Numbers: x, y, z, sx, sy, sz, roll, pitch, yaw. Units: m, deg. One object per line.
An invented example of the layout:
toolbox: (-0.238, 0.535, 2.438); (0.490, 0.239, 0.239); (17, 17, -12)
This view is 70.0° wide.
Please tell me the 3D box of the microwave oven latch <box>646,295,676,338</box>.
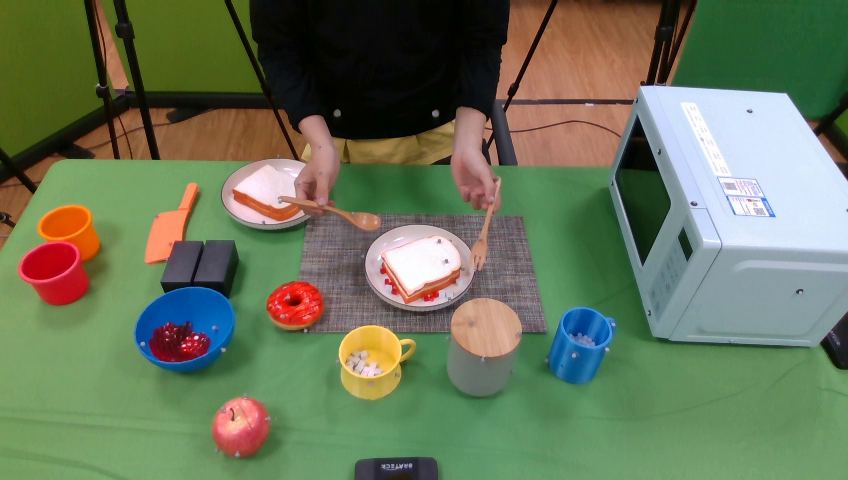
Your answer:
microwave oven latch: (0.413, 0.133, 1.060); (0.030, 0.029, 0.078); (4, 46, 1)

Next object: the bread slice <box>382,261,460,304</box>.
bread slice: (0.000, 0.055, 1.129); (0.131, 0.019, 0.104); (-21, 51, -21)

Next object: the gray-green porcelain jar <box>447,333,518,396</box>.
gray-green porcelain jar: (0.091, 0.178, 0.960); (0.106, 0.127, 0.105); (2, 46, -2)

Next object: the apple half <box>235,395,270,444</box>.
apple half: (-0.245, 0.260, 0.893); (0.033, 0.082, 0.081); (-29, 55, -22)

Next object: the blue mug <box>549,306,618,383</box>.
blue mug: (0.269, 0.167, 0.997); (0.116, 0.106, 0.082); (-19, 50, -21)

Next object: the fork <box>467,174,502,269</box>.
fork: (0.113, -0.038, 1.103); (0.028, 0.019, 0.206); (17, 67, 3)

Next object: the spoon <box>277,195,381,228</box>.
spoon: (-0.166, -0.055, 1.077); (0.194, 0.021, 0.041); (16, 47, -29)

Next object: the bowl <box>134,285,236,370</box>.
bowl: (-0.377, 0.155, 0.981); (0.151, 0.077, 0.150); (2, 46, -2)

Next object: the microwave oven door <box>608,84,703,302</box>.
microwave oven door: (0.424, -0.096, 1.138); (0.039, 0.245, 0.353); (3, 46, -1)

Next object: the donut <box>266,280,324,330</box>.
donut: (-0.223, 0.112, 1.051); (0.099, 0.048, 0.098); (2, 46, -2)

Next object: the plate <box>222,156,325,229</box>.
plate: (-0.308, -0.095, 1.251); (0.209, 0.038, 0.208); (2, 47, -2)

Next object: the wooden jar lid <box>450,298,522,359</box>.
wooden jar lid: (0.093, 0.135, 0.914); (0.108, 0.021, 0.107); (2, 48, -3)

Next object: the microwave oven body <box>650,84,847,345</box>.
microwave oven body: (0.569, -0.054, 1.116); (0.326, 0.261, 0.439); (2, 46, -1)

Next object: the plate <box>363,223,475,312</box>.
plate: (-0.009, 0.054, 1.126); (0.208, 0.039, 0.206); (2, 46, -2)

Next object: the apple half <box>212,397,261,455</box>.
apple half: (-0.276, 0.276, 0.877); (0.053, 0.075, 0.080); (-29, 58, -20)

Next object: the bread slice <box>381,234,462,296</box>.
bread slice: (0.001, 0.038, 1.107); (0.134, 0.018, 0.106); (-24, 56, -23)

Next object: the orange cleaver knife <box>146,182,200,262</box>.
orange cleaver knife: (-0.494, -0.039, 1.198); (0.077, 0.012, 0.210); (-3, 48, 2)

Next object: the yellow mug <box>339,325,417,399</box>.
yellow mug: (-0.072, 0.191, 0.978); (0.131, 0.064, 0.099); (-17, 49, -20)
